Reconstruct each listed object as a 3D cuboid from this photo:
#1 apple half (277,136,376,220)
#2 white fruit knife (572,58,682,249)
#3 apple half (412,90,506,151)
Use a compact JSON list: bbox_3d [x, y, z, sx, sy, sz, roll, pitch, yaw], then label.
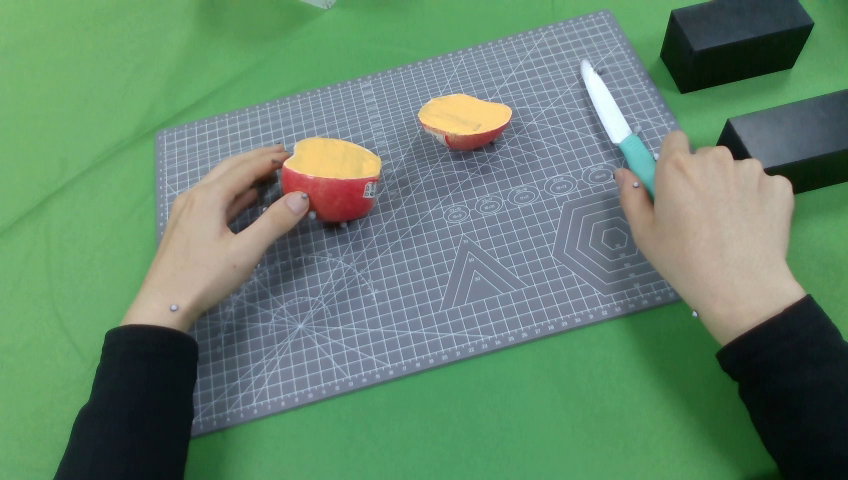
[{"bbox_3d":[-0.077,-0.044,0.486,0.075,0.054,0.080,5,30,-7],"label":"apple half"},{"bbox_3d":[0.163,-0.081,0.501,0.027,0.016,0.205,-11,59,-7],"label":"white fruit knife"},{"bbox_3d":[0.027,-0.094,0.512,0.081,0.033,0.080,-2,41,2],"label":"apple half"}]
